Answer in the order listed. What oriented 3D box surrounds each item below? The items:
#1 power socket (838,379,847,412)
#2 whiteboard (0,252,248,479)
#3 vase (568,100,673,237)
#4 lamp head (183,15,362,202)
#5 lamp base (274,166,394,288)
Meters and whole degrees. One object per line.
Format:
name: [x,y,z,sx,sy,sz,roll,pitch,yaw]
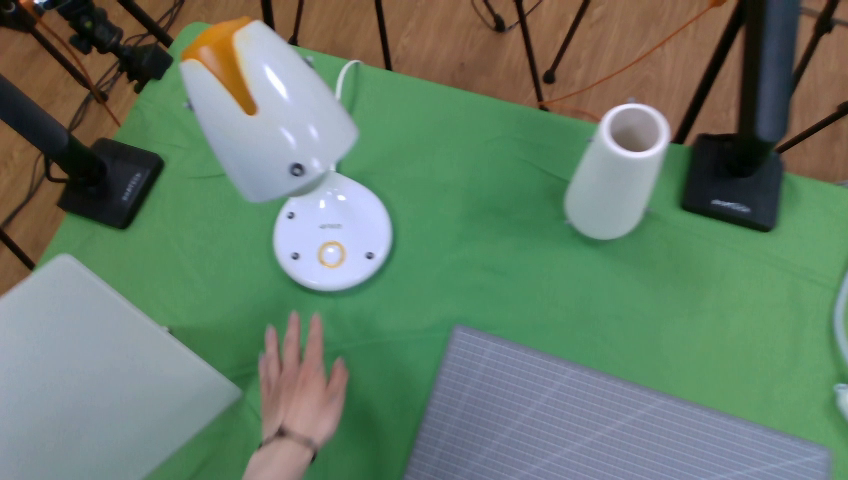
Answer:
power socket: [0.546,0.248,0.656,0.072,0.033,0.225,-20,67,-5]
whiteboard: [-0.380,0.132,0.653,0.217,0.309,0.142,-39,51,-11]
vase: [0.234,-0.080,0.722,0.098,0.201,0.097,-1,67,3]
lamp head: [-0.124,-0.109,0.470,0.112,0.124,0.111,-24,26,13]
lamp base: [-0.129,-0.052,0.745,0.161,0.181,0.177,-12,65,-1]
